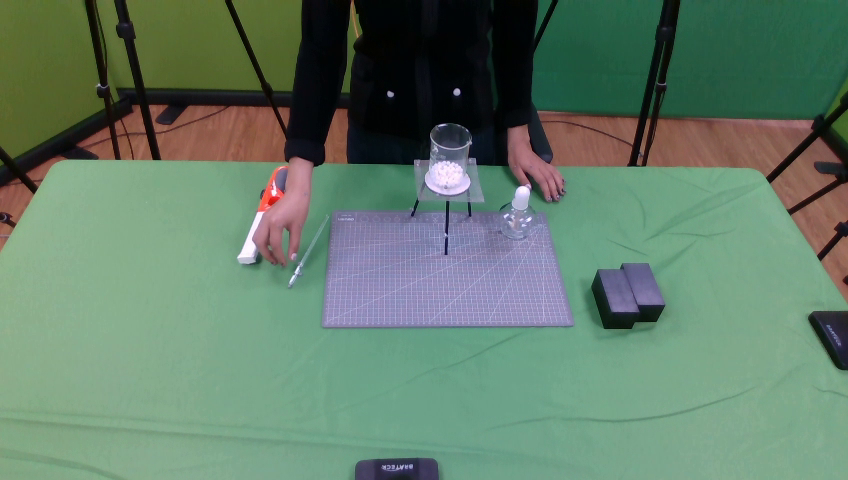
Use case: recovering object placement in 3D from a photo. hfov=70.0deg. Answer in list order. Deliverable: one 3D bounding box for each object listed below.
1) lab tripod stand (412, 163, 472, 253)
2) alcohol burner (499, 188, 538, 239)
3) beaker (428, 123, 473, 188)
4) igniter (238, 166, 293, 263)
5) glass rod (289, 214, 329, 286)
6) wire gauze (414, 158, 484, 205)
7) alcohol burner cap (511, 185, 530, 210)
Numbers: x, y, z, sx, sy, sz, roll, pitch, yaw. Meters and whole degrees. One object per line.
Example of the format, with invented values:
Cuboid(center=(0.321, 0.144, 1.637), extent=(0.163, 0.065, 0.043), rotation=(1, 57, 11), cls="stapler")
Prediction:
Cuboid(center=(0.043, -0.070, 1.187), extent=(0.148, 0.132, 0.147), rotation=(3, 47, -3), cls="lab tripod stand")
Cuboid(center=(0.189, -0.060, 1.202), extent=(0.078, 0.120, 0.077), rotation=(1, 48, -1), cls="alcohol burner")
Cuboid(center=(0.044, -0.154, 1.109), extent=(0.074, 0.101, 0.083), rotation=(-25, 54, -25), cls="beaker")
Cuboid(center=(-0.319, -0.060, 1.230), extent=(0.057, 0.025, 0.275), rotation=(-1, 45, 10), cls="igniter")
Cuboid(center=(-0.222, 0.014, 1.179), extent=(0.008, 0.008, 0.199), rotation=(12, 46, 8), cls="glass rod")
Cuboid(center=(0.045, -0.113, 1.137), extent=(0.125, 0.011, 0.120), rotation=(2, 48, -6), cls="wire gauze")
Cuboid(center=(0.190, -0.085, 1.176), extent=(0.034, 0.048, 0.033), rotation=(3, 50, -3), cls="alcohol burner cap")
